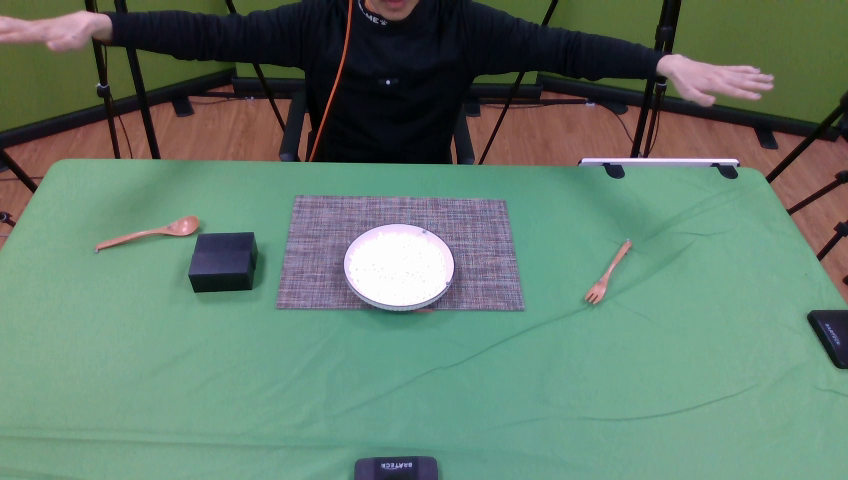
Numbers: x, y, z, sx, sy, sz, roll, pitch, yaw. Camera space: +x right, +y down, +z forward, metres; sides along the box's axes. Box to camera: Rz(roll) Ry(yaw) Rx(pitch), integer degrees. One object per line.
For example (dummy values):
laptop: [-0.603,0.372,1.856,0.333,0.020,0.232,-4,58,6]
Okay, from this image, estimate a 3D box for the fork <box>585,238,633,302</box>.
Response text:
fork: [0.362,0.055,1.172,0.028,0.019,0.207,21,49,30]

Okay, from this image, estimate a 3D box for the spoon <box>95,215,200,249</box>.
spoon: [-0.531,-0.014,1.168,0.194,0.022,0.041,-13,65,-16]

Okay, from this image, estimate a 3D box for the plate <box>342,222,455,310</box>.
plate: [-0.047,0.052,1.127,0.209,0.038,0.208,2,46,-2]
